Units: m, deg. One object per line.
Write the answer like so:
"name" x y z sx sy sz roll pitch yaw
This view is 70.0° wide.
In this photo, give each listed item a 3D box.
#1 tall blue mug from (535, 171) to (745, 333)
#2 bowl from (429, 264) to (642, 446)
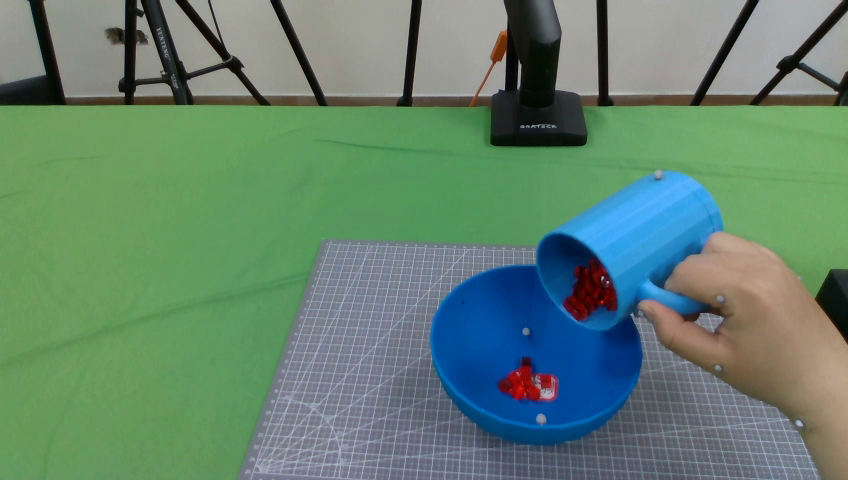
"tall blue mug" 0.151 0.006 0.416 0.108 0.078 0.107 -28 8 -25
"bowl" 0.079 0.097 0.457 0.151 0.077 0.150 -1 41 2
